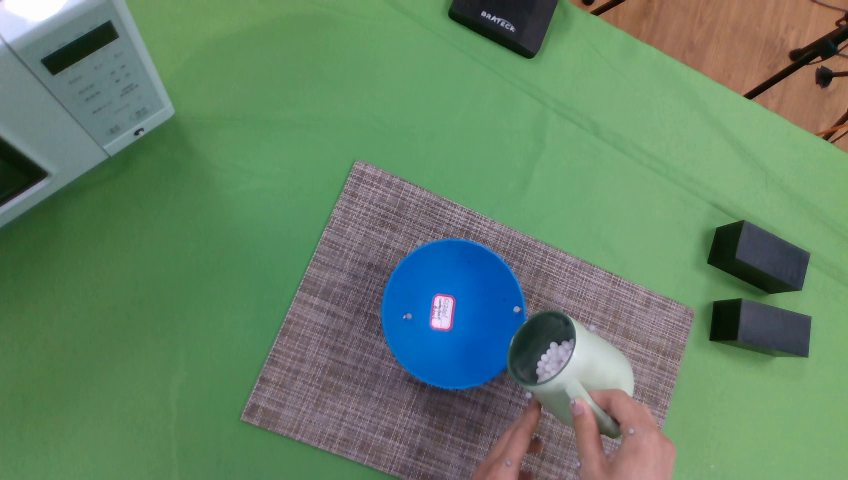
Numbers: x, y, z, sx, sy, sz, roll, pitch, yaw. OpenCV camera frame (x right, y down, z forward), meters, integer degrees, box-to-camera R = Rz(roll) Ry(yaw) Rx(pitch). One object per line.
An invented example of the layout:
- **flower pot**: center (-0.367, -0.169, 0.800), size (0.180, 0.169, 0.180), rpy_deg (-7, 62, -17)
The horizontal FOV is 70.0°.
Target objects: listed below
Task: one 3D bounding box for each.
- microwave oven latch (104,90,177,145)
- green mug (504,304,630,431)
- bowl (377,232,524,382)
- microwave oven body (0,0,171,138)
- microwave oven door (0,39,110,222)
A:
- **microwave oven latch**: center (-0.284, -0.128, 0.597), size (0.079, 0.029, 0.030), rpy_deg (-37, 92, -15)
- **green mug**: center (0.145, 0.129, 0.579), size (0.092, 0.124, 0.106), rpy_deg (-44, 123, 9)
- **bowl**: center (0.020, 0.071, 0.635), size (0.152, 0.077, 0.151), rpy_deg (2, 81, -13)
- **microwave oven body**: center (-0.489, -0.151, 0.451), size (0.441, 0.260, 0.326), rpy_deg (-39, 92, -15)
- **microwave oven door**: center (-0.427, -0.012, 0.440), size (0.355, 0.244, 0.039), rpy_deg (-39, 91, -16)
